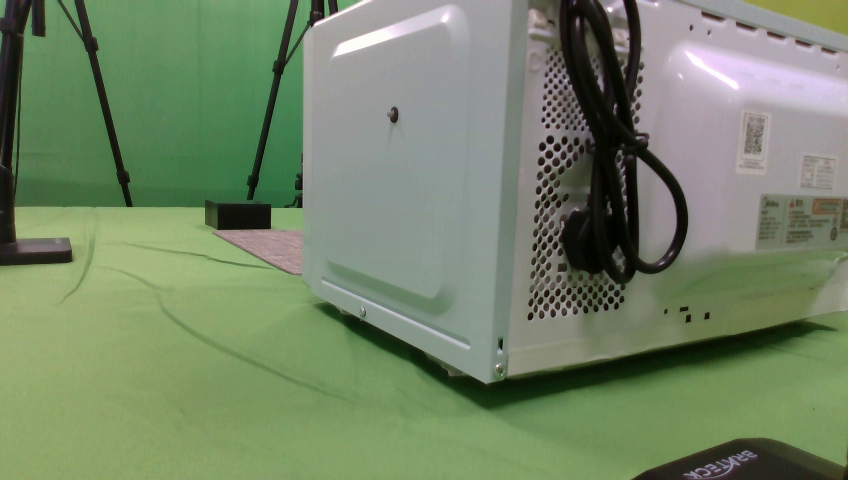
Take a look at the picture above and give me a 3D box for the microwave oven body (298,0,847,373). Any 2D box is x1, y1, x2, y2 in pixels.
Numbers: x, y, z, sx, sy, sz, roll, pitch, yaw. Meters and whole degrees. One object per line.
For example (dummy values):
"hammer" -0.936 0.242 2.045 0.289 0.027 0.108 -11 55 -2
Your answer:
"microwave oven body" 0.151 -0.055 0.542 0.444 0.260 0.324 -2 7 -33

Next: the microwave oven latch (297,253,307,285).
"microwave oven latch" -0.081 0.027 0.582 0.079 0.029 0.030 -1 7 -32

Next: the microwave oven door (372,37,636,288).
"microwave oven door" 0.110 -0.080 0.686 0.358 0.243 0.039 -2 9 -33
